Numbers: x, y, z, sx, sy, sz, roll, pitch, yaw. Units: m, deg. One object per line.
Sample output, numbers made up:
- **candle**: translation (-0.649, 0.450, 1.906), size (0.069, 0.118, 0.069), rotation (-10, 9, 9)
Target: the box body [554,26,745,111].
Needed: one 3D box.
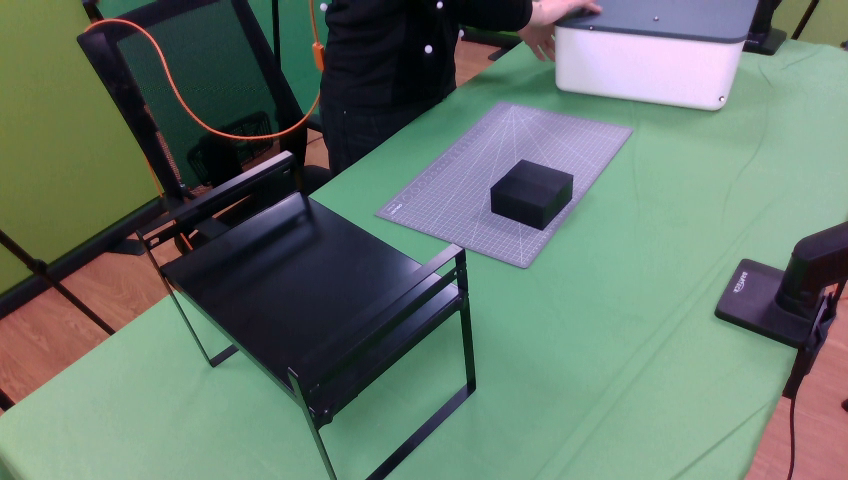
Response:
- **box body**: translation (0.480, -0.417, 1.282), size (0.362, 0.161, 0.254), rotation (15, 46, 24)

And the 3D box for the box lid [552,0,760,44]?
- **box lid**: translation (0.471, -0.472, 1.234), size (0.369, 0.015, 0.263), rotation (15, 45, 24)

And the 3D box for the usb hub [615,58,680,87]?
- **usb hub**: translation (0.484, -0.363, 1.311), size (0.124, 0.025, 0.049), rotation (22, 46, 27)
